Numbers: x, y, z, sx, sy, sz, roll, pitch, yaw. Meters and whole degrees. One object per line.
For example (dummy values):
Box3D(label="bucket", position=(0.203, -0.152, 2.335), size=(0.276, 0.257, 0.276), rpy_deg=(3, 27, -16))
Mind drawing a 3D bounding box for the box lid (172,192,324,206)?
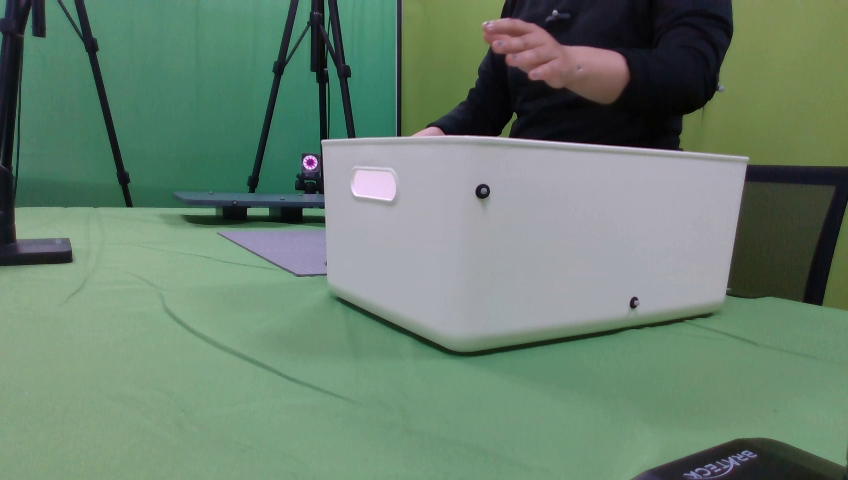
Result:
Box3D(label="box lid", position=(-0.355, -0.091, 1.350), size=(0.373, 0.015, 0.262), rpy_deg=(-1, 8, -29))

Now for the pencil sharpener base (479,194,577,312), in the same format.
Box3D(label="pencil sharpener base", position=(0.103, 0.011, 0.591), size=(0.077, 0.107, 0.061), rpy_deg=(-1, 7, -33))

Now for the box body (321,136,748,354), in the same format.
Box3D(label="box body", position=(0.105, -0.012, 0.603), size=(0.366, 0.160, 0.253), rpy_deg=(-2, 8, -33))

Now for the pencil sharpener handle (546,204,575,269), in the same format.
Box3D(label="pencil sharpener handle", position=(0.145, -0.003, 0.619), size=(0.031, 0.067, 0.036), rpy_deg=(-1, 16, -33))
